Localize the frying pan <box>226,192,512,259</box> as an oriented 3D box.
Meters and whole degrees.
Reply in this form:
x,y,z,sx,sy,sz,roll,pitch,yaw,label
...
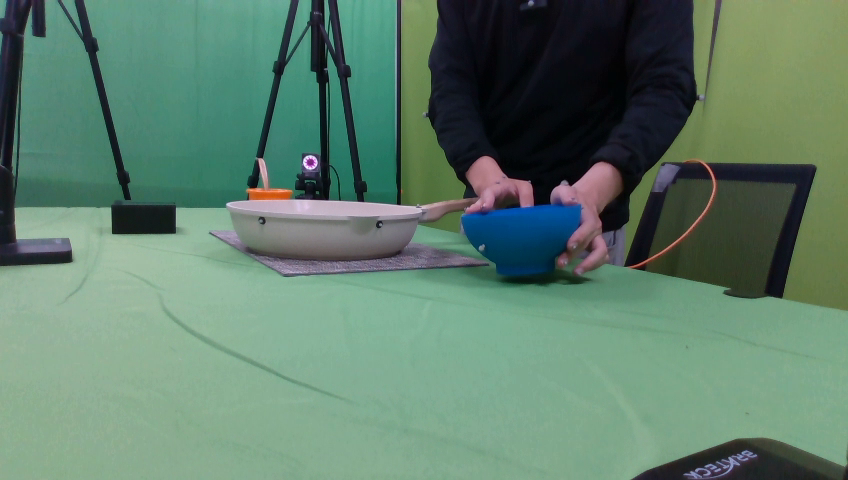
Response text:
x,y,z,sx,sy,sz,roll,pitch,yaw,label
-0.058,-0.041,0.974,0.490,0.102,0.305,-11,13,-26,frying pan

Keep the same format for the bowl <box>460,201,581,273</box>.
x,y,z,sx,sy,sz,roll,pitch,yaw,label
0.123,-0.002,0.756,0.151,0.077,0.151,-7,4,1,bowl

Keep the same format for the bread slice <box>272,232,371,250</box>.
x,y,z,sx,sy,sz,roll,pitch,yaw,label
-0.148,0.001,0.929,0.133,0.018,0.107,5,7,38,bread slice

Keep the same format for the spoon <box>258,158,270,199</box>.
x,y,z,sx,sy,sz,roll,pitch,yaw,label
-0.332,-0.107,1.269,0.042,0.021,0.193,1,52,-24,spoon
